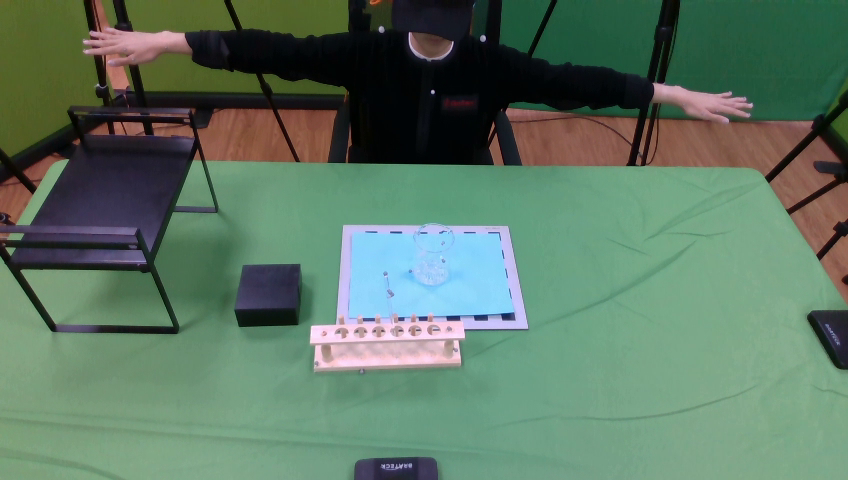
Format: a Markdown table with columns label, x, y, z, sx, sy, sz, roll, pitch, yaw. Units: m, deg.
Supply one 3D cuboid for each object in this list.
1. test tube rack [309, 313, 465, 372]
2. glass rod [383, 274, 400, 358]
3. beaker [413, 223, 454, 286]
| label | x | y | z | sx | sy | sz | roll | pitch | yaw |
| --- | --- | --- | --- | --- | --- | --- | --- | --- | --- |
| test tube rack | -0.059 | 0.161 | 0.990 | 0.242 | 0.085 | 0.066 | -1 | 46 | -5 |
| glass rod | -0.049 | 0.122 | 0.936 | 0.008 | 0.201 | 0.008 | -3 | 43 | 3 |
| beaker | 0.018 | 0.028 | 1.109 | 0.084 | 0.101 | 0.073 | -34 | 57 | -31 |
